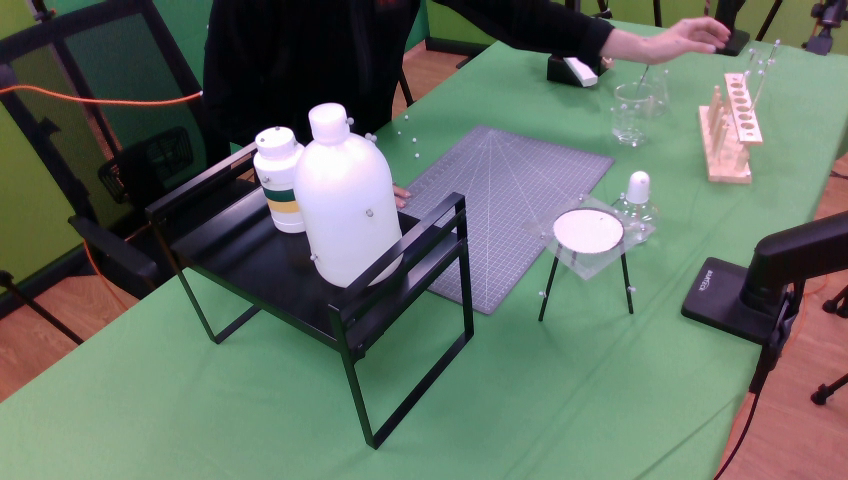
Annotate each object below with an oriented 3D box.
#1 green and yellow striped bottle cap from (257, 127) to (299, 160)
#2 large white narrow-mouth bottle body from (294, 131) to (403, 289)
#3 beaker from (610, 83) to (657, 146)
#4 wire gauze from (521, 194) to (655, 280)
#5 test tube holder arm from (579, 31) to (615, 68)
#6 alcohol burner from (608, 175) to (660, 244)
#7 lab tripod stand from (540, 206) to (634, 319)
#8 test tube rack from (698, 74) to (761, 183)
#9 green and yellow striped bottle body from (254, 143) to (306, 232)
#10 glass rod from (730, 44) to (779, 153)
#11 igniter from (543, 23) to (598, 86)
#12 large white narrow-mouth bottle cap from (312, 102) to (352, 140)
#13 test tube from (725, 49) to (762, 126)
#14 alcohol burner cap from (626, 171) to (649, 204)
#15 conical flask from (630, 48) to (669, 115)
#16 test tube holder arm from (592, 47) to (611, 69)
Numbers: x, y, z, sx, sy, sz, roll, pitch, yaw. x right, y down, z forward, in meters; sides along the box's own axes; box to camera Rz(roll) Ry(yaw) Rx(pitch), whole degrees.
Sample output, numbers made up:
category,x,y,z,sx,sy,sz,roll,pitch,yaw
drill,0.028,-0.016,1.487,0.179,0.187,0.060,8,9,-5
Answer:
category,x,y,z,sx,sy,sz,roll,pitch,yaw
green and yellow striped bottle cap,-0.169,-0.112,0.699,0.045,0.020,0.045,-6,40,5
large white narrow-mouth bottle body,-0.082,-0.047,0.634,0.102,0.195,0.101,-4,39,3
beaker,0.388,-0.235,1.138,0.074,0.101,0.083,-31,45,-25
wire gauze,0.207,-0.012,0.772,0.122,0.011,0.124,-28,44,-20
test tube holder arm,0.384,-0.428,1.351,0.013,0.015,0.177,-10,41,-4
alcohol burner,0.323,-0.053,0.924,0.078,0.119,0.077,-4,43,4
lab tripod stand,0.218,0.034,0.821,0.148,0.132,0.147,-4,42,4
test tube rack,0.547,-0.208,1.095,0.066,0.085,0.242,5,42,15
green and yellow striped bottle body,-0.165,-0.073,0.732,0.063,0.120,0.063,-4,41,4
glass rod,0.555,-0.233,1.020,0.008,0.200,0.008,2,39,-1
igniter,0.320,-0.419,1.345,0.057,0.025,0.274,-12,44,-3
large white narrow-mouth bottle cap,-0.088,-0.114,0.579,0.038,0.024,0.037,-3,39,3
test tube,0.571,-0.270,1.086,0.017,0.151,0.017,0,45,1
alcohol burner cap,0.320,-0.081,0.900,0.034,0.048,0.033,-4,42,4
conical flask,0.457,-0.317,1.205,0.075,0.122,0.075,-4,41,4
test tube holder arm,0.386,-0.398,1.317,0.010,0.015,0.087,-10,41,-3
